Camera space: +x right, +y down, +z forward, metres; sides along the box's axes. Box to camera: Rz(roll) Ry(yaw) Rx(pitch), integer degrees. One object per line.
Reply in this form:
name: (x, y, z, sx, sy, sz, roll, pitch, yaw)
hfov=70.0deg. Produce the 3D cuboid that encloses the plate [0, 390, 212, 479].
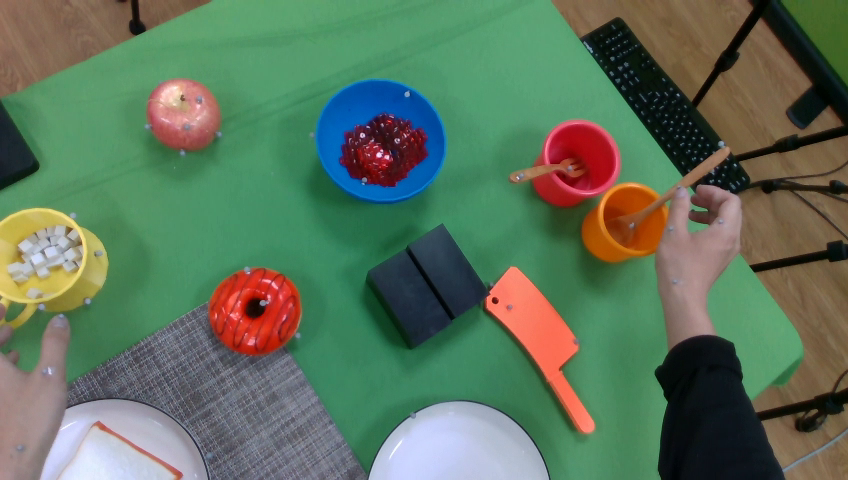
plate: (-0.319, 0.257, 0.608, 0.208, 0.039, 0.206, 2, 76, -9)

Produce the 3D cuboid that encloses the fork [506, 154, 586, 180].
fork: (0.148, -0.086, 0.717, 0.208, 0.018, 0.028, -16, 76, -55)

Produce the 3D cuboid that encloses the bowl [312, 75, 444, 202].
bowl: (-0.057, -0.109, 0.723, 0.152, 0.077, 0.150, 2, 77, -9)

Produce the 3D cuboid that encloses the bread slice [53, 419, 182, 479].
bread slice: (-0.326, 0.263, 0.607, 0.105, 0.019, 0.131, 31, 73, -1)

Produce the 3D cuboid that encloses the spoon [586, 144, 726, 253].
spoon: (0.277, -0.048, 0.729, 0.041, 0.194, 0.022, 53, 30, 8)

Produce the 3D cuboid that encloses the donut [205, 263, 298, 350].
donut: (-0.189, 0.073, 0.670, 0.099, 0.048, 0.098, 3, 77, -10)

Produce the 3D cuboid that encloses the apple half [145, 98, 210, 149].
apple half: (-0.284, -0.122, 0.688, 0.081, 0.081, 0.032, 24, 68, -3)

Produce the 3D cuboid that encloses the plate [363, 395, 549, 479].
plate: (0.034, 0.277, 0.667, 0.209, 0.038, 0.208, 2, 76, -9)

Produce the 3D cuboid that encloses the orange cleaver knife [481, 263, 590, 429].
orange cleaver knife: (0.147, 0.125, 0.733, 0.077, 0.012, 0.210, -31, 82, -22)

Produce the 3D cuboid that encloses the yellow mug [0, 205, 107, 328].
yellow mug: (-0.406, 0.033, 0.635, 0.100, 0.064, 0.130, 26, 74, -3)

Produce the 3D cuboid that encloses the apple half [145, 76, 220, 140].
apple half: (-0.271, -0.156, 0.700, 0.081, 0.075, 0.053, 23, 68, 1)
